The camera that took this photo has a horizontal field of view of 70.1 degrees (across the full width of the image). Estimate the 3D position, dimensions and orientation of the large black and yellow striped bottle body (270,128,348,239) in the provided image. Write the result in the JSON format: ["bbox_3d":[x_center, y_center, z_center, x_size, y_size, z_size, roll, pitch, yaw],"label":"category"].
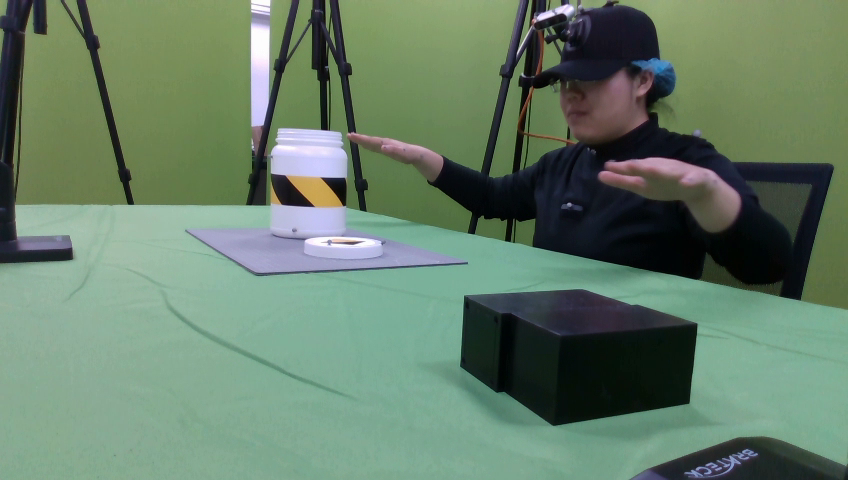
[{"bbox_3d":[-0.200,-0.099,1.053,0.131,0.184,0.130,3,8,0],"label":"large black and yellow striped bottle body"}]

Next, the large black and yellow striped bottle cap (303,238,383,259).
[{"bbox_3d":[-0.117,0.011,0.880,0.115,0.019,0.115,2,6,0],"label":"large black and yellow striped bottle cap"}]
